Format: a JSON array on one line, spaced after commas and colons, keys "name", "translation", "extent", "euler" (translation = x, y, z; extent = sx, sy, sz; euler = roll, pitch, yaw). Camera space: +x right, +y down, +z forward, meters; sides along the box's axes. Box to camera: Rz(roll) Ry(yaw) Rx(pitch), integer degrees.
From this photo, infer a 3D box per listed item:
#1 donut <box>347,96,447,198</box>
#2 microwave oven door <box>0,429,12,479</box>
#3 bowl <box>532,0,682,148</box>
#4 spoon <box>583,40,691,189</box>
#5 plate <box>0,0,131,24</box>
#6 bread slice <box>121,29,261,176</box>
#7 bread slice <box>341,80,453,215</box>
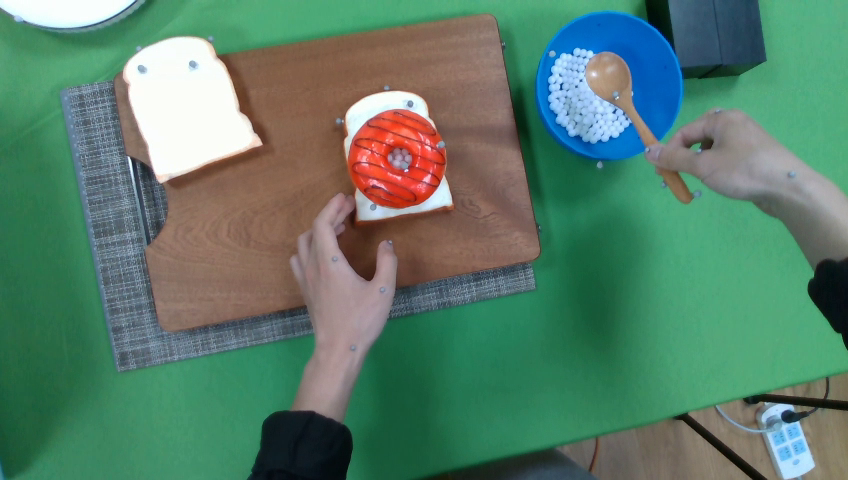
[{"name": "donut", "translation": [-0.027, -0.090, 0.594], "extent": [0.099, 0.048, 0.099], "euler": [0, 91, -4]}, {"name": "microwave oven door", "translation": [-0.463, 0.074, 0.488], "extent": [0.039, 0.243, 0.355], "euler": [-14, 90, -4]}, {"name": "bowl", "translation": [0.181, -0.166, 0.639], "extent": [0.151, 0.077, 0.151], "euler": [0, 90, -4]}, {"name": "spoon", "translation": [0.197, -0.121, 0.565], "extent": [0.041, 0.022, 0.191], "euler": [-22, 54, 9]}, {"name": "plate", "translation": [-0.369, -0.320, 0.617], "extent": [0.208, 0.039, 0.207], "euler": [0, 90, -4]}, {"name": "bread slice", "translation": [-0.240, -0.141, 0.606], "extent": [0.107, 0.018, 0.134], "euler": [-26, 91, -5]}, {"name": "bread slice", "translation": [-0.034, -0.098, 0.623], "extent": [0.105, 0.019, 0.131], "euler": [-12, 92, -6]}]
